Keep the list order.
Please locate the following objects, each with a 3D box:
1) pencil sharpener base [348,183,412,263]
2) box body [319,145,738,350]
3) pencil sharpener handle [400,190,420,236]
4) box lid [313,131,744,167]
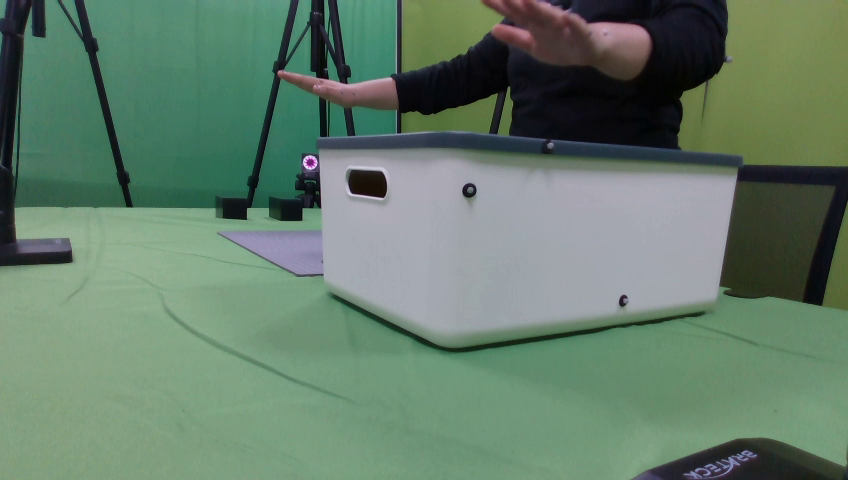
[{"bbox_3d":[-0.059,-0.024,0.845,0.077,0.107,0.061,-1,7,-30],"label":"pencil sharpener base"},{"bbox_3d":[0.100,-0.013,0.611,0.366,0.160,0.253,-2,8,-32],"label":"box body"},{"bbox_3d":[-0.016,-0.038,0.873,0.031,0.067,0.036,-1,21,-30],"label":"pencil sharpener handle"},{"bbox_3d":[0.101,-0.085,0.602,0.373,0.015,0.262,-2,8,-32],"label":"box lid"}]
